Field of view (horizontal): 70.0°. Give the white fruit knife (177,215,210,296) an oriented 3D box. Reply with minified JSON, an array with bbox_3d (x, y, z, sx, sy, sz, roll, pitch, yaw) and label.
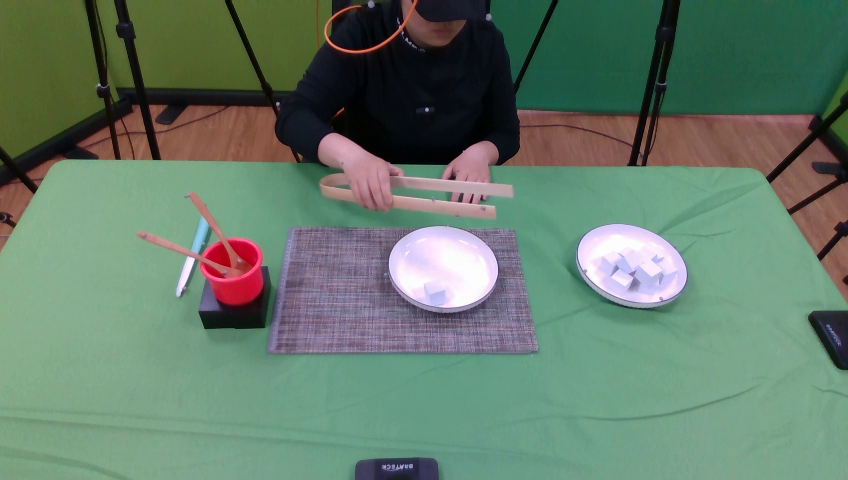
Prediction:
[{"bbox_3d":[-0.435,0.025,1.148,0.027,0.016,0.206,-18,45,18],"label":"white fruit knife"}]

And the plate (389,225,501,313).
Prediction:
[{"bbox_3d":[0.038,0.057,1.129,0.208,0.039,0.206,2,46,-2],"label":"plate"}]

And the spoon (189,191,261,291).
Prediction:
[{"bbox_3d":[-0.333,0.001,1.012,0.041,0.194,0.021,-34,15,-25],"label":"spoon"}]

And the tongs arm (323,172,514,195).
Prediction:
[{"bbox_3d":[-0.018,-0.106,1.144,0.386,0.028,0.028,6,40,24],"label":"tongs arm"}]

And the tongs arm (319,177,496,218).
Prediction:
[{"bbox_3d":[-0.040,-0.081,1.109,0.383,0.026,0.050,7,37,27],"label":"tongs arm"}]

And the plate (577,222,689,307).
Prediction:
[{"bbox_3d":[0.396,0.050,1.165,0.209,0.038,0.208,2,47,-2],"label":"plate"}]

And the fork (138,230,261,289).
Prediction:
[{"bbox_3d":[-0.359,0.032,0.981,0.208,0.018,0.028,31,60,-30],"label":"fork"}]
